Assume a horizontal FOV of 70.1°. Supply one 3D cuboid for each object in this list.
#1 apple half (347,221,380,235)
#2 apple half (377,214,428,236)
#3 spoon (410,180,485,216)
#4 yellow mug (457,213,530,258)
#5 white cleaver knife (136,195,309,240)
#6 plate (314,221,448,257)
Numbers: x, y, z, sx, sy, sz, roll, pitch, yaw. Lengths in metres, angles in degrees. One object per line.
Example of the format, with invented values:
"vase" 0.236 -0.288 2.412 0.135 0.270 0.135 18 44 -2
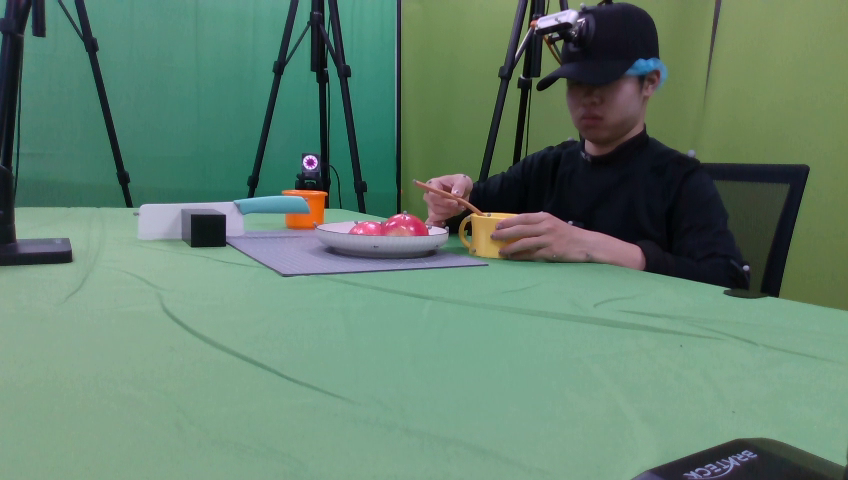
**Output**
"apple half" -0.089 -0.014 0.985 0.081 0.033 0.081 5 5 0
"apple half" -0.034 -0.013 0.924 0.080 0.053 0.075 5 10 16
"spoon" 0.066 -0.055 0.977 0.194 0.021 0.041 29 7 -5
"yellow mug" 0.109 -0.010 0.992 0.130 0.064 0.100 6 7 36
"white cleaver knife" -0.337 -0.039 1.037 0.288 0.066 0.021 -6 15 -29
"plate" -0.066 -0.002 0.948 0.209 0.038 0.209 3 7 0
